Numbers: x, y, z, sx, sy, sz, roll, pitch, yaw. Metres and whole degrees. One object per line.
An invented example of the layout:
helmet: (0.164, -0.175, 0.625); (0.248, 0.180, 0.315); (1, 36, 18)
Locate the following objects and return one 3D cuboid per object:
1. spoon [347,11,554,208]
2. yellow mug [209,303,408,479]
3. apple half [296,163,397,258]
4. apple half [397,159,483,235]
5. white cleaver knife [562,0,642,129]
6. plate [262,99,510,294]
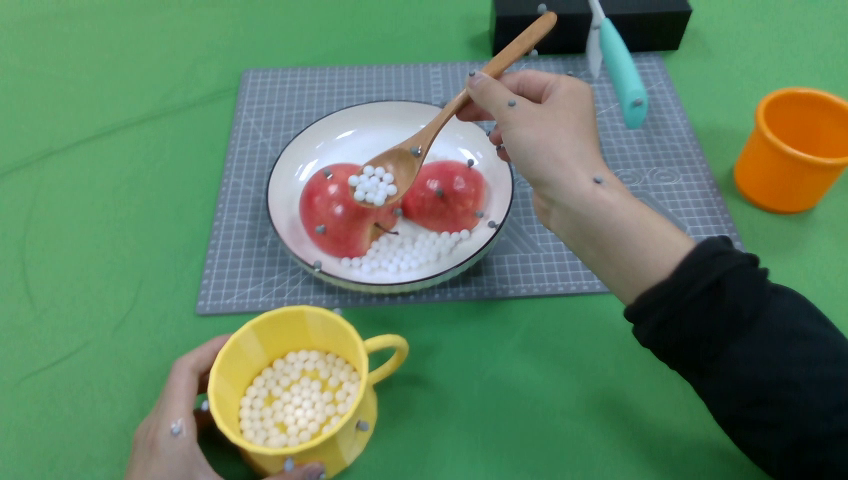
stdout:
spoon: (0.021, -0.093, 0.431); (0.194, 0.022, 0.041); (-44, 66, 6)
yellow mug: (-0.070, 0.095, 0.409); (0.131, 0.064, 0.099); (-22, 57, -16)
apple half: (-0.066, -0.033, 0.497); (0.074, 0.054, 0.080); (36, 62, 27)
apple half: (0.013, -0.045, 0.517); (0.081, 0.033, 0.080); (0, 56, 0)
white cleaver knife: (0.176, -0.208, 0.627); (0.021, 0.066, 0.283); (-5, 50, 3)
plate: (-0.031, -0.039, 0.521); (0.209, 0.038, 0.207); (0, 54, 0)
